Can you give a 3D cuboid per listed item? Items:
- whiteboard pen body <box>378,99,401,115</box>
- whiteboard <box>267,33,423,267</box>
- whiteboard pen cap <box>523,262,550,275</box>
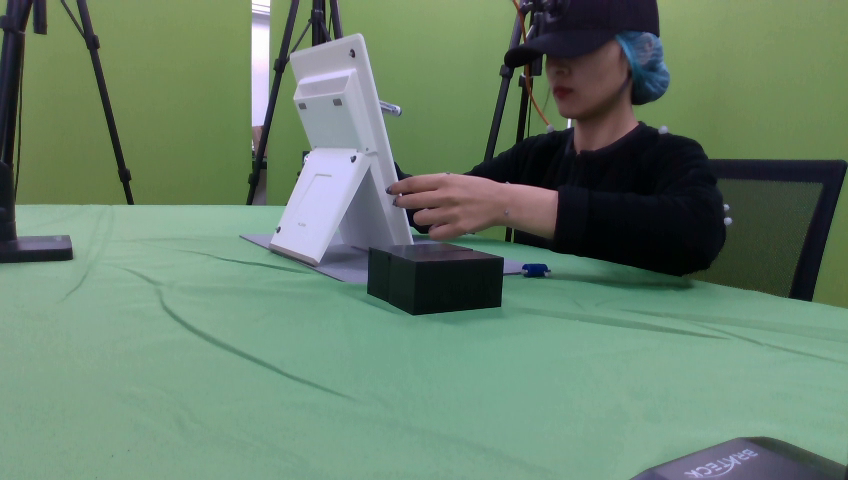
[{"bbox_3d":[-0.080,-0.202,0.885,0.017,0.017,0.141,7,4,34],"label":"whiteboard pen body"},{"bbox_3d":[-0.153,-0.098,0.818,0.144,0.305,0.216,-25,21,-28],"label":"whiteboard"},{"bbox_3d":[0.145,0.037,0.776,0.033,0.018,0.018,1,6,-30],"label":"whiteboard pen cap"}]
